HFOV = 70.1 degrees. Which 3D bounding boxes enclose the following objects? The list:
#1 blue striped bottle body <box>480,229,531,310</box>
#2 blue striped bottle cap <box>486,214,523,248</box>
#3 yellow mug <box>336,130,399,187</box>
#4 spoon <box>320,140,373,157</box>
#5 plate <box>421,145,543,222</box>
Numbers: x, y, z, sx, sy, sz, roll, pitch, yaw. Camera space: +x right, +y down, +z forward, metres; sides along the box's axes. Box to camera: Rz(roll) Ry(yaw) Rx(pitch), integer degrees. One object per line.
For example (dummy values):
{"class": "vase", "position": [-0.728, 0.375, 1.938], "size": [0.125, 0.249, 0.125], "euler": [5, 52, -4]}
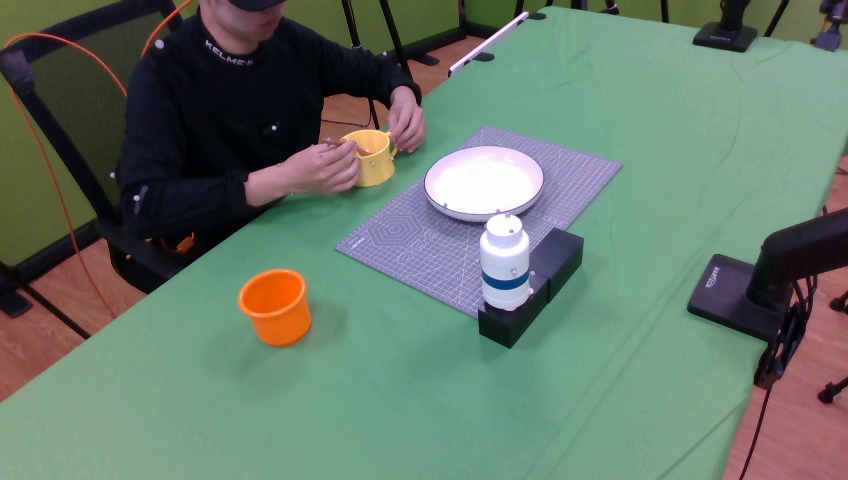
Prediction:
{"class": "blue striped bottle body", "position": [0.104, 0.027, 0.769], "size": [0.063, 0.121, 0.063], "euler": [-4, 41, 4]}
{"class": "blue striped bottle cap", "position": [0.098, -0.011, 0.735], "size": [0.044, 0.021, 0.044], "euler": [-3, 38, 3]}
{"class": "yellow mug", "position": [-0.098, -0.162, 1.139], "size": [0.131, 0.064, 0.099], "euler": [-35, 48, -29]}
{"class": "spoon", "position": [-0.128, -0.161, 1.074], "size": [0.041, 0.021, 0.195], "euler": [10, 1, 25]}
{"class": "plate", "position": [0.101, -0.094, 1.048], "size": [0.207, 0.039, 0.206], "euler": [-4, 41, 4]}
